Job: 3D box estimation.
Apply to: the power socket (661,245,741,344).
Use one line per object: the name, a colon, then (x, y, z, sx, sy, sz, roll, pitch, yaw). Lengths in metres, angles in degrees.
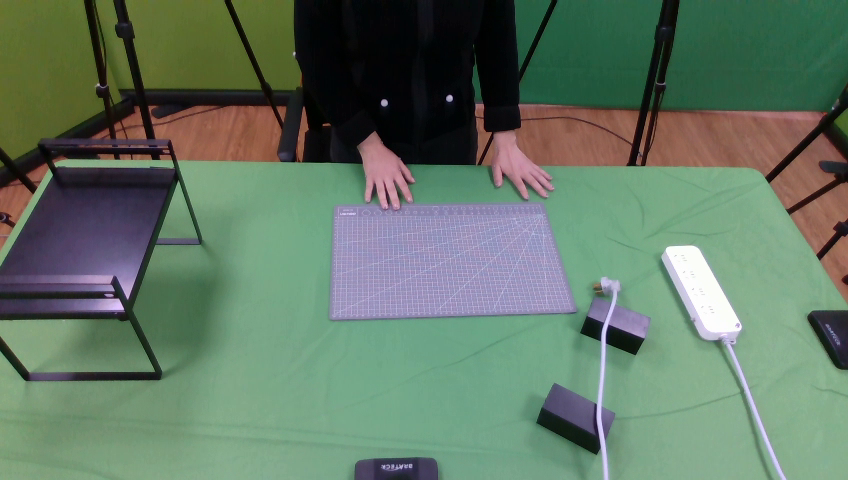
power socket: (0.515, 0.094, 1.138, 0.072, 0.033, 0.225, -3, 47, -5)

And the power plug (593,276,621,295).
power plug: (0.332, 0.085, 1.115, 0.052, 0.035, 0.073, -18, -6, 30)
